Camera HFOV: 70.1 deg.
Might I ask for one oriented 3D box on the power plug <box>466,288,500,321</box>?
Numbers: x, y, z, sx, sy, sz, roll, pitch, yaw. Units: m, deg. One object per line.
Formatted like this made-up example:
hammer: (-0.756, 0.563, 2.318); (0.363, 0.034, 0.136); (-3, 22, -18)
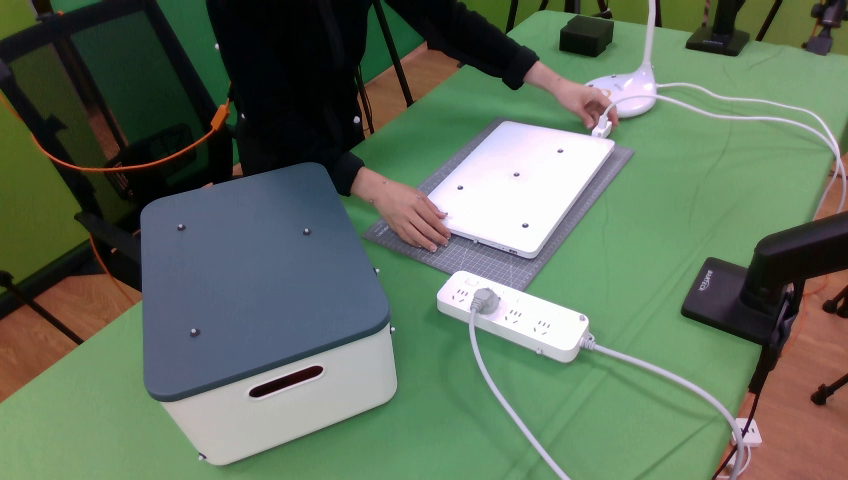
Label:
power plug: (0.072, 0.093, 0.813); (0.035, 0.053, 0.073); (30, 54, 35)

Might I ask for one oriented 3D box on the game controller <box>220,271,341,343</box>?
game controller: (-0.185, 0.077, 0.778); (0.155, 0.052, 0.096); (-8, 46, -2)

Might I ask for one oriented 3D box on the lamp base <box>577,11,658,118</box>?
lamp base: (0.406, -0.363, 1.222); (0.180, 0.181, 0.159); (-20, 42, -18)

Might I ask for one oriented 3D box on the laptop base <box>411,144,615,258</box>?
laptop base: (0.167, -0.102, 1.074); (0.234, 0.023, 0.355); (16, 45, 30)

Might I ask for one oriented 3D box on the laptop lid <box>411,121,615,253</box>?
laptop lid: (0.164, -0.112, 1.068); (0.240, 0.013, 0.357); (19, 46, 31)

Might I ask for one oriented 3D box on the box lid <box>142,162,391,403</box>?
box lid: (-0.212, 0.025, 0.752); (0.264, 0.015, 0.368); (-17, 41, -13)

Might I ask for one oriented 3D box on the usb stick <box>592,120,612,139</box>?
usb stick: (0.335, -0.202, 1.150); (0.021, 0.027, 0.059); (24, 53, 27)

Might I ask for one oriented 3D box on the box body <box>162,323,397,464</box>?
box body: (-0.205, 0.080, 0.802); (0.255, 0.161, 0.361); (-18, 41, -13)

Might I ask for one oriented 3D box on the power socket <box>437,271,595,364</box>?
power socket: (0.118, 0.102, 0.830); (0.225, 0.033, 0.072); (20, 48, 28)
